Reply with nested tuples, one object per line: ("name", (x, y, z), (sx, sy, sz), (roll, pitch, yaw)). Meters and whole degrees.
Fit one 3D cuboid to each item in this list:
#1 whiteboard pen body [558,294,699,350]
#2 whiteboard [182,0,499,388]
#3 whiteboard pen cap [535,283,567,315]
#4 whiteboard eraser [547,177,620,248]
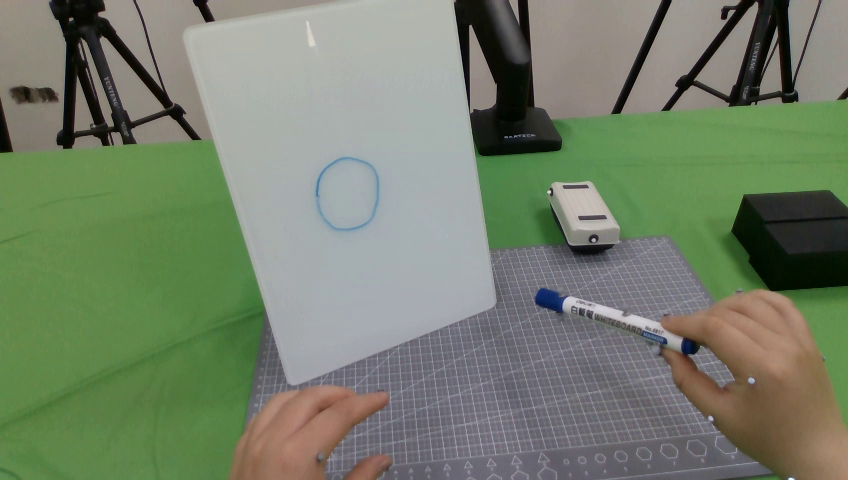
("whiteboard pen body", (0.143, 0.058, 0.463), (0.017, 0.017, 0.139), (-26, 22, -28))
("whiteboard", (-0.075, -0.060, 0.571), (0.218, 0.307, 0.142), (-18, 22, -20))
("whiteboard pen cap", (0.107, 0.050, 0.513), (0.018, 0.033, 0.018), (7, 57, -11))
("whiteboard eraser", (0.181, -0.033, 0.697), (0.055, 0.042, 0.111), (-5, 34, -1))
